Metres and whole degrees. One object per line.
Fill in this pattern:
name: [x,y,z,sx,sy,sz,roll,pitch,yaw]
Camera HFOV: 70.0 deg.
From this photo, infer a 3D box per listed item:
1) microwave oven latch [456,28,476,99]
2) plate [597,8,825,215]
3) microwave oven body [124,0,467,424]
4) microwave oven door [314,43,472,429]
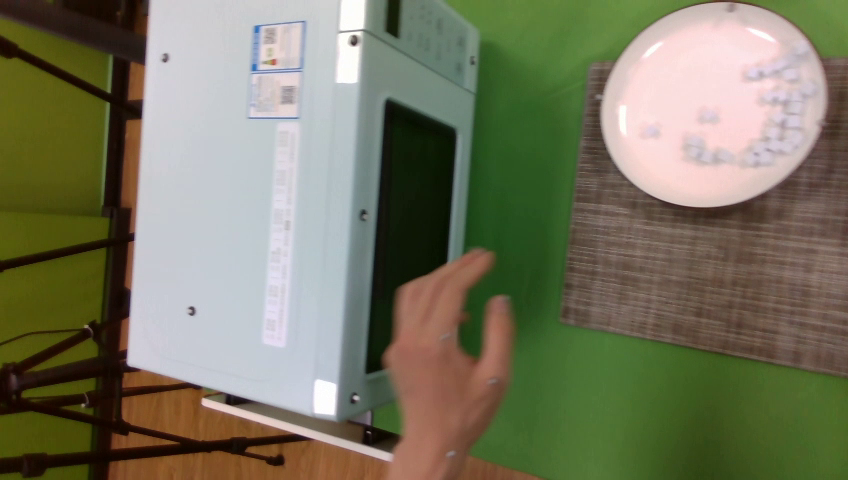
microwave oven latch: [0.045,-0.213,0.736,0.030,0.029,0.079,6,92,28]
plate: [0.286,-0.127,0.619,0.208,0.038,0.209,-1,88,28]
microwave oven body: [-0.145,-0.051,0.726,0.324,0.261,0.441,5,92,28]
microwave oven door: [-0.024,0.001,0.653,0.039,0.245,0.355,5,91,29]
